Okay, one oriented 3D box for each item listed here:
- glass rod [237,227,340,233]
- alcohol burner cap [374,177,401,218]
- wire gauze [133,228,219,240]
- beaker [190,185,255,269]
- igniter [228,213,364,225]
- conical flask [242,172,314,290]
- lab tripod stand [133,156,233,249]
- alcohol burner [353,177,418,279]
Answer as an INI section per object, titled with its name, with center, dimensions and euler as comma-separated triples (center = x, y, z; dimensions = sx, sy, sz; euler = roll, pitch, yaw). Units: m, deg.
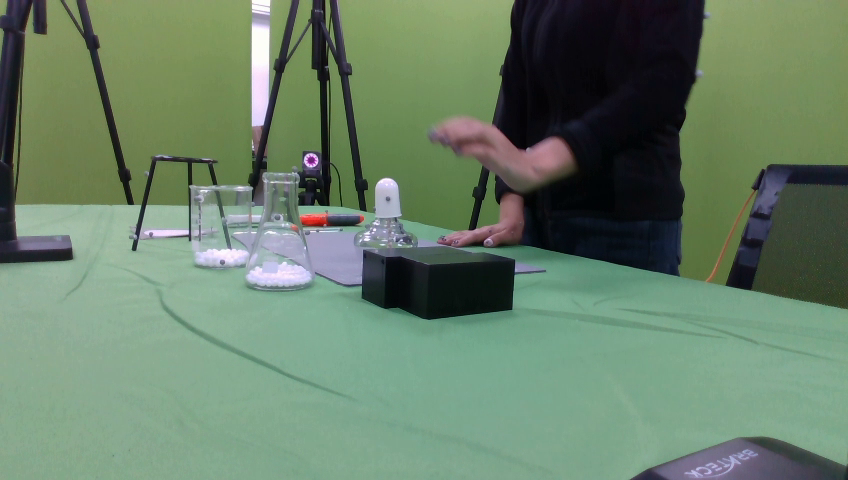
[glass rod]
center = -0.248, -0.020, 1.124
dimensions = 0.201, 0.008, 0.008
euler = -2, 8, -33
[alcohol burner cap]
center = -0.044, -0.049, 0.704
dimensions = 0.034, 0.048, 0.034
euler = -4, 9, 1
[wire gauze]
center = -0.421, -0.014, 1.024
dimensions = 0.122, 0.011, 0.124
euler = -2, 7, -34
[beaker]
center = -0.253, -0.018, 0.754
dimensions = 0.083, 0.100, 0.074
euler = 6, 8, 32
[igniter]
center = -0.252, -0.042, 1.227
dimensions = 0.278, 0.025, 0.057
euler = -2, -2, -32
[conical flask]
center = -0.154, -0.011, 0.643
dimensions = 0.075, 0.122, 0.075
euler = 2, 7, 0
[lab tripod stand]
center = -0.342, -0.054, 0.878
dimensions = 0.148, 0.131, 0.148
euler = 4, 6, 0
[alcohol burner]
center = -0.044, -0.014, 0.710
dimensions = 0.078, 0.119, 0.078
euler = 4, 9, 0
